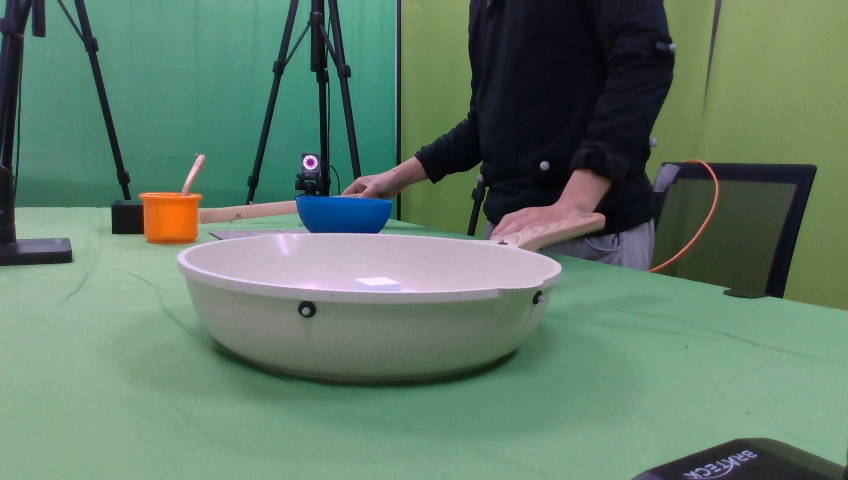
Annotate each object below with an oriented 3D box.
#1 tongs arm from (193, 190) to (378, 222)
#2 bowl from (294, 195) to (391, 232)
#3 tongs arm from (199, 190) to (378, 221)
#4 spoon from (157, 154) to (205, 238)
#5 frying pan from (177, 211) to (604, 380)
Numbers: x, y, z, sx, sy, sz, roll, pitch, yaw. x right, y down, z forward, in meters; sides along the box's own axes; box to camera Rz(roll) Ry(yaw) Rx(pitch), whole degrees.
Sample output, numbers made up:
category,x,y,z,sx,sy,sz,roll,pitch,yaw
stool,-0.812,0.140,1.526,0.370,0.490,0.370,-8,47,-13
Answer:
category,x,y,z,sx,sy,sz,roll,pitch,yaw
tongs arm,-0.289,-0.074,1.297,0.386,0.026,0.050,-8,3,-21
bowl,-0.127,-0.027,0.946,0.151,0.077,0.151,2,7,0
tongs arm,-0.255,-0.072,1.227,0.390,0.027,0.028,-9,0,-33
spoon,-0.392,-0.076,0.998,0.041,0.193,0.021,1,-36,6
frying pan,0.034,0.019,0.556,0.490,0.102,0.305,-15,18,-42
